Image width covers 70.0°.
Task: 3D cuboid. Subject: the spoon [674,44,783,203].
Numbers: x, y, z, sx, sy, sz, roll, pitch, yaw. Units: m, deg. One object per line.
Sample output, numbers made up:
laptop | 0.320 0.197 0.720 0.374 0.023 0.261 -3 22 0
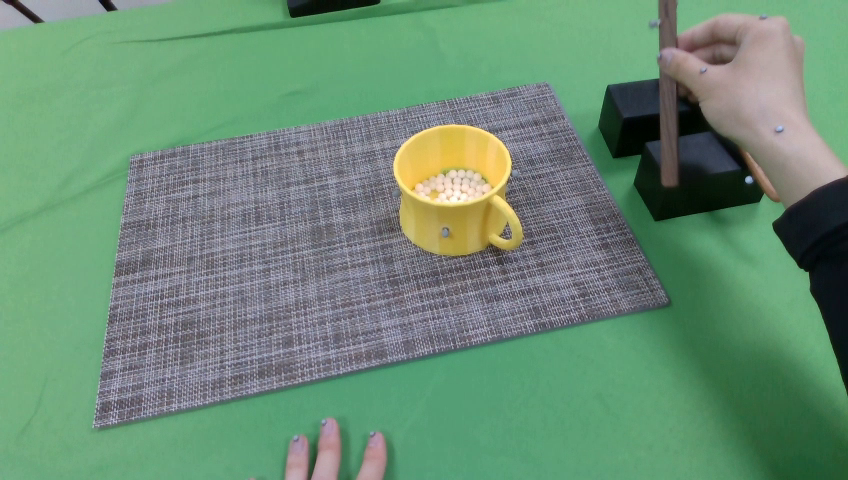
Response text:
spoon | 0.262 -0.109 0.537 0.042 0.022 0.191 -11 53 -6

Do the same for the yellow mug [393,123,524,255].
yellow mug | 0.036 -0.037 0.523 0.100 0.064 0.129 -39 59 -23

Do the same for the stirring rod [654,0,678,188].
stirring rod | 0.194 -0.130 0.486 0.014 0.176 0.006 1 7 42
